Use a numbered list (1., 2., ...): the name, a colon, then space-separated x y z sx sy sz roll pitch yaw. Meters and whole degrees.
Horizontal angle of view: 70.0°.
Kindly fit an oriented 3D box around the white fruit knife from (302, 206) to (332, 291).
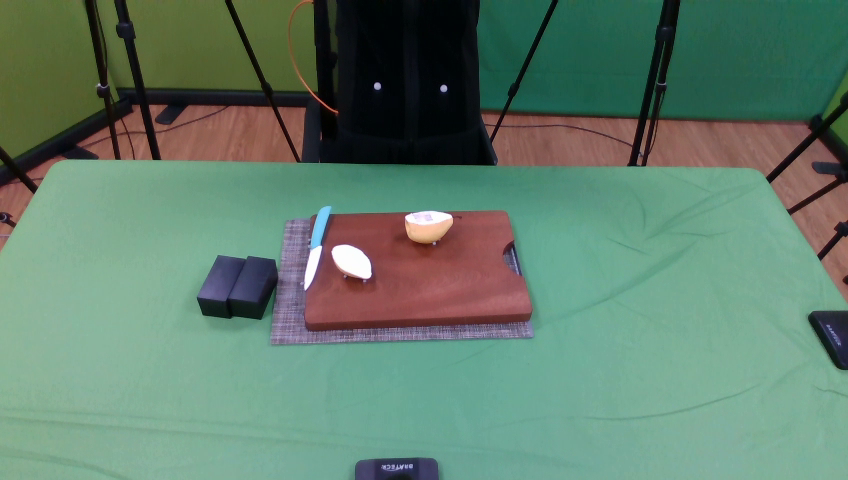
1. white fruit knife: -0.204 0.012 1.136 0.027 0.016 0.206 -5 47 12

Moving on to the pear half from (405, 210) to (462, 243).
1. pear half: 0.021 -0.026 1.160 0.110 0.056 0.076 -9 30 -9

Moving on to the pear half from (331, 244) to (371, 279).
1. pear half: -0.133 0.045 1.097 0.070 0.031 0.087 -23 64 -42
